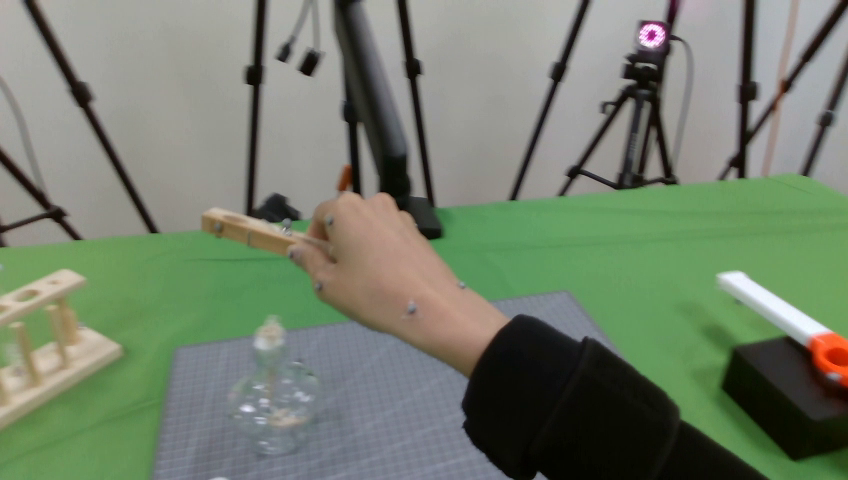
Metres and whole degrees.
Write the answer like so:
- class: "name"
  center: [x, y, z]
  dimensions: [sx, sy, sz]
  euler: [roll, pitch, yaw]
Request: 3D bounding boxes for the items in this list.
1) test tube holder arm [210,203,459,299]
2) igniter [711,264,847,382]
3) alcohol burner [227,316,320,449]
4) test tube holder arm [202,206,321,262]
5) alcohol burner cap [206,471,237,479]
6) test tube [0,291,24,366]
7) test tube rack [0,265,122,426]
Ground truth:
- class: "test tube holder arm"
  center: [-0.062, 0.006, 0.395]
  dimensions: [0.178, 0.015, 0.013]
  euler: [16, 28, 12]
- class: "igniter"
  center: [0.368, 0.093, 0.555]
  dimensions: [0.057, 0.025, 0.273]
  euler: [-8, 27, -13]
- class: "alcohol burner"
  center: [-0.127, 0.115, 0.509]
  dimensions: [0.078, 0.120, 0.077]
  euler: [1, 28, 0]
- class: "test tube holder arm"
  center: [-0.106, -0.005, 0.399]
  dimensions: [0.087, 0.015, 0.010]
  euler: [16, 28, 11]
- class: "alcohol burner cap"
  center: [-0.149, 0.192, 0.446]
  dimensions: [0.034, 0.048, 0.033]
  euler: [1, 30, 0]
- class: "test tube"
  center: [-0.392, 0.052, 0.550]
  dimensions: [0.017, 0.151, 0.017]
  euler: [0, 27, 1]
- class: "test tube rack"
  center: [-0.403, 0.119, 0.532]
  dimensions: [0.066, 0.086, 0.242]
  euler: [17, 33, 27]
